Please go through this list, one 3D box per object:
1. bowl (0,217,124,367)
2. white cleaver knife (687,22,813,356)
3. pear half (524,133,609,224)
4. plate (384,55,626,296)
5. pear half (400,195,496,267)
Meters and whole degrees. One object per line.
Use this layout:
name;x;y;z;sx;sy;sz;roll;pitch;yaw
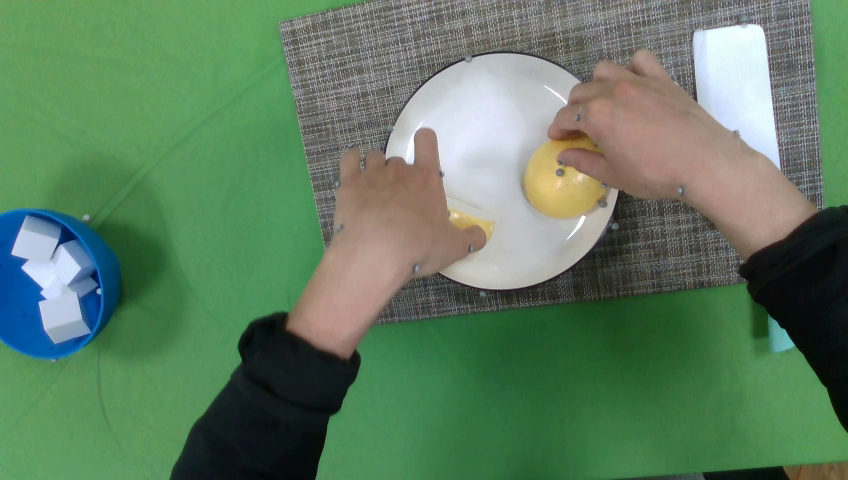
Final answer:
bowl;-0.366;0.046;0.619;0.151;0.077;0.152;2;100;10
white cleaver knife;0.277;-0.040;0.517;0.066;0.021;0.286;-11;94;17
pear half;0.123;-0.049;0.514;0.070;0.031;0.088;29;123;-3
plate;0.070;-0.055;0.539;0.207;0.039;0.208;2;101;10
pear half;0.009;-0.007;0.511;0.075;0.111;0.056;21;94;40
